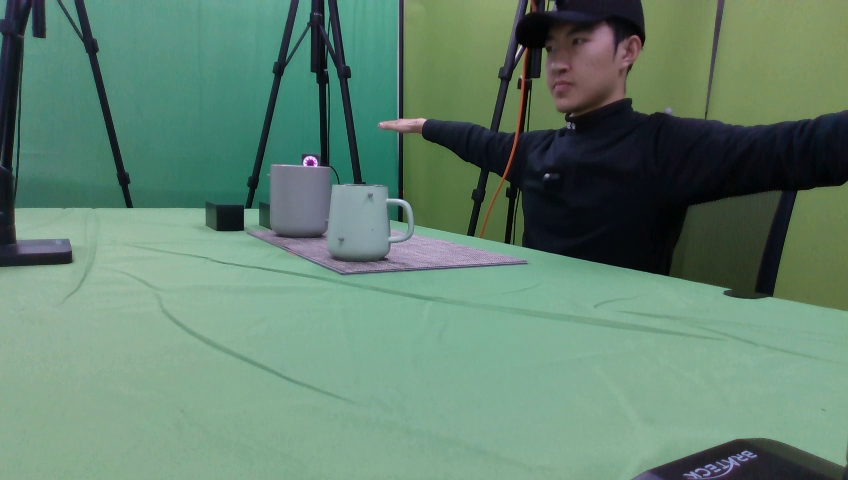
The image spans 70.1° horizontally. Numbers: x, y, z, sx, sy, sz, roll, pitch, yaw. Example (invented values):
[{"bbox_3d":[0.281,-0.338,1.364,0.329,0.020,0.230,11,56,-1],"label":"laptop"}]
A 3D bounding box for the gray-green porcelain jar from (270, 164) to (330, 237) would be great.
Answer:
[{"bbox_3d":[-0.223,-0.072,1.090,0.106,0.126,0.106,2,8,0],"label":"gray-green porcelain jar"}]

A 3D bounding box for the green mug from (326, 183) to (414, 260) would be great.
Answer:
[{"bbox_3d":[-0.076,-0.027,0.858,0.125,0.105,0.092,3,7,8],"label":"green mug"}]
